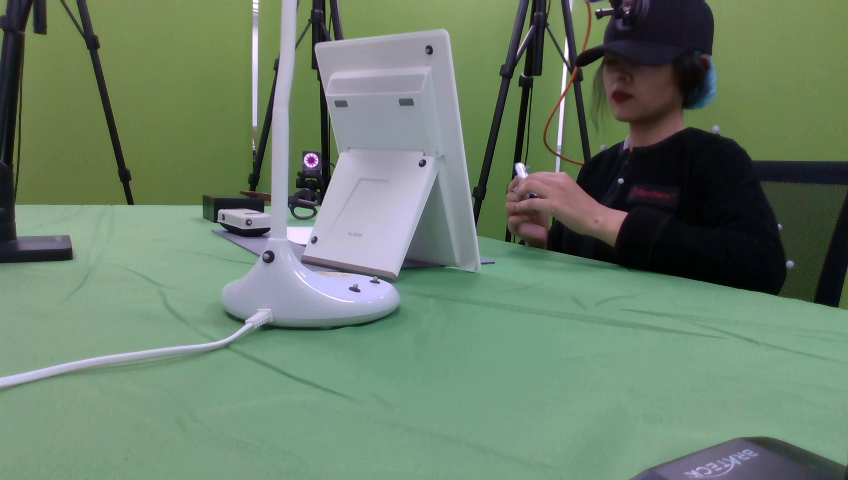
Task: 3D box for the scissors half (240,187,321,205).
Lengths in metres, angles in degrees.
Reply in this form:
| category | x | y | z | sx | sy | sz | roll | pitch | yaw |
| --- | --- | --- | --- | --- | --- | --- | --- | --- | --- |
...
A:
| category | x | y | z | sx | sy | sz | roll | pitch | yaw |
| --- | --- | --- | --- | --- | --- | --- | --- | --- | --- |
| scissors half | -0.311 | -0.097 | 1.319 | 0.176 | 0.040 | 0.012 | -1 | 30 | -25 |

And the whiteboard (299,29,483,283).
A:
| category | x | y | z | sx | sy | sz | roll | pitch | yaw |
| --- | --- | --- | --- | --- | --- | --- | --- | --- | --- |
| whiteboard | -0.074 | -0.082 | 0.742 | 0.216 | 0.305 | 0.144 | 9 | 29 | 38 |

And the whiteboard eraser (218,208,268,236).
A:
| category | x | y | z | sx | sy | sz | roll | pitch | yaw |
| --- | --- | --- | --- | --- | --- | --- | --- | --- | --- |
| whiteboard eraser | -0.309 | -0.031 | 1.044 | 0.056 | 0.042 | 0.112 | -2 | 9 | -40 |

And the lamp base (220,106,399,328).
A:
| category | x | y | z | sx | sy | sz | roll | pitch | yaw |
| --- | --- | --- | --- | --- | --- | --- | --- | --- | --- |
| lamp base | -0.101 | -0.023 | 0.531 | 0.160 | 0.180 | 0.179 | 4 | 10 | 10 |

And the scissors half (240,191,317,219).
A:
| category | x | y | z | sx | sy | sz | roll | pitch | yaw |
| --- | --- | --- | --- | --- | --- | --- | --- | --- | --- |
| scissors half | -0.317 | -0.079 | 1.326 | 0.176 | 0.040 | 0.013 | 18 | 15 | -31 |

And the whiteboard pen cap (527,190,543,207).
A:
| category | x | y | z | sx | sy | sz | roll | pitch | yaw |
| --- | --- | --- | --- | --- | --- | --- | --- | --- | --- |
| whiteboard pen cap | 0.175 | -0.066 | 0.956 | 0.018 | 0.018 | 0.033 | 0 | 29 | -15 |

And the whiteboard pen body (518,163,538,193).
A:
| category | x | y | z | sx | sy | sz | roll | pitch | yaw |
| --- | --- | --- | --- | --- | --- | --- | --- | --- | --- |
| whiteboard pen body | 0.175 | -0.093 | 1.007 | 0.017 | 0.017 | 0.140 | 2 | 33 | -5 |
